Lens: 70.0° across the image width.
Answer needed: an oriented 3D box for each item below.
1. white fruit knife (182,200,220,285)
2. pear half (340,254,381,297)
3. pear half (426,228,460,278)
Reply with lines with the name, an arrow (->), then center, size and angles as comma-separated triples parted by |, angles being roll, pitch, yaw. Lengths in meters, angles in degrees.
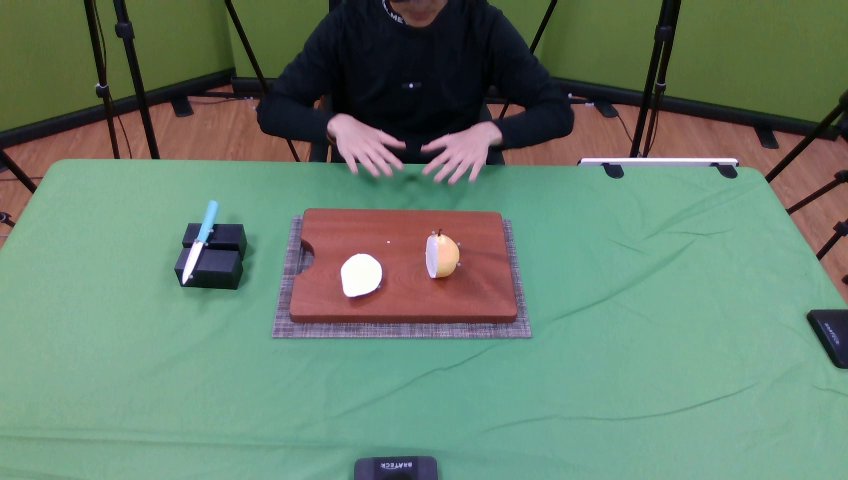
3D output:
white fruit knife -> -0.405, 0.001, 1.103 | 0.027, 0.016, 0.206 | -12, 47, 16
pear half -> -0.116, 0.068, 1.074 | 0.070, 0.031, 0.088 | 31, 64, 4
pear half -> 0.037, 0.016, 1.082 | 0.056, 0.110, 0.076 | -13, 52, -15
